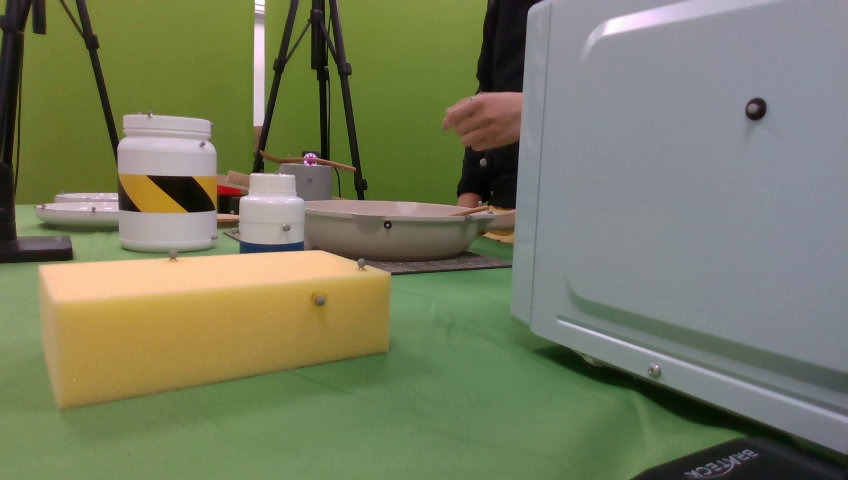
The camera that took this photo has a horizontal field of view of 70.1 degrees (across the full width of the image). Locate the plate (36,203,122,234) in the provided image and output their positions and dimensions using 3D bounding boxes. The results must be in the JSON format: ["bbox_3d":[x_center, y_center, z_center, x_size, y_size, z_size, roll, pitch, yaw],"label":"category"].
[{"bbox_3d":[-0.571,-0.040,1.083,0.208,0.039,0.207,2,8,0],"label":"plate"}]

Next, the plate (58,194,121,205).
[{"bbox_3d":[-0.671,-0.074,1.310,0.209,0.038,0.209,2,8,0],"label":"plate"}]

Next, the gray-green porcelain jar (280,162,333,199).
[{"bbox_3d":[-0.238,-0.092,1.221,0.106,0.126,0.106,2,7,0],"label":"gray-green porcelain jar"}]

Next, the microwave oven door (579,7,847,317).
[{"bbox_3d":[0.294,-0.067,0.570,0.358,0.243,0.039,-3,9,-31],"label":"microwave oven door"}]

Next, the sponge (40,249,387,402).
[{"bbox_3d":[-0.142,0.047,0.420,0.208,0.061,0.117,-3,8,-36],"label":"sponge"}]

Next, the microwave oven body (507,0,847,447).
[{"bbox_3d":[0.331,-0.042,0.425,0.444,0.260,0.324,-2,8,-31],"label":"microwave oven body"}]

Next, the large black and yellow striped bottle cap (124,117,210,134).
[{"bbox_3d":[-0.366,-0.163,0.866,0.115,0.019,0.115,3,7,0],"label":"large black and yellow striped bottle cap"}]

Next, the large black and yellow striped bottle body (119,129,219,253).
[{"bbox_3d":[-0.367,-0.080,0.876,0.131,0.184,0.130,2,7,0],"label":"large black and yellow striped bottle body"}]

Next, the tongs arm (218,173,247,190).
[{"bbox_3d":[-0.315,-0.110,1.448,0.389,0.027,0.028,11,-7,-26],"label":"tongs arm"}]

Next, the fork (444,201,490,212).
[{"bbox_3d":[-0.006,-0.020,0.852,0.207,0.018,0.028,-22,-4,10],"label":"fork"}]

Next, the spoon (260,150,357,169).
[{"bbox_3d":[-0.231,-0.162,1.221,0.194,0.021,0.041,3,3,-16],"label":"spoon"}]

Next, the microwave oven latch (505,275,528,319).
[{"bbox_3d":[0.100,0.042,0.471,0.079,0.029,0.030,-1,7,-28],"label":"microwave oven latch"}]

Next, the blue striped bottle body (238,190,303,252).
[{"bbox_3d":[-0.153,-0.007,0.606,0.063,0.120,0.063,2,7,0],"label":"blue striped bottle body"}]

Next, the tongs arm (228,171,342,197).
[{"bbox_3d":[-0.267,-0.103,1.378,0.387,0.026,0.050,11,-3,-40],"label":"tongs arm"}]

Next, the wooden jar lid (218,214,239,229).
[{"bbox_3d":[-0.404,-0.037,1.169,0.108,0.020,0.108,3,7,0],"label":"wooden jar lid"}]

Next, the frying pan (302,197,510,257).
[{"bbox_3d":[0.050,-0.035,0.915,0.487,0.102,0.307,-5,7,10],"label":"frying pan"}]

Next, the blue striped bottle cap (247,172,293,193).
[{"bbox_3d":[-0.152,-0.057,0.598,0.044,0.020,0.044,3,7,0],"label":"blue striped bottle cap"}]
